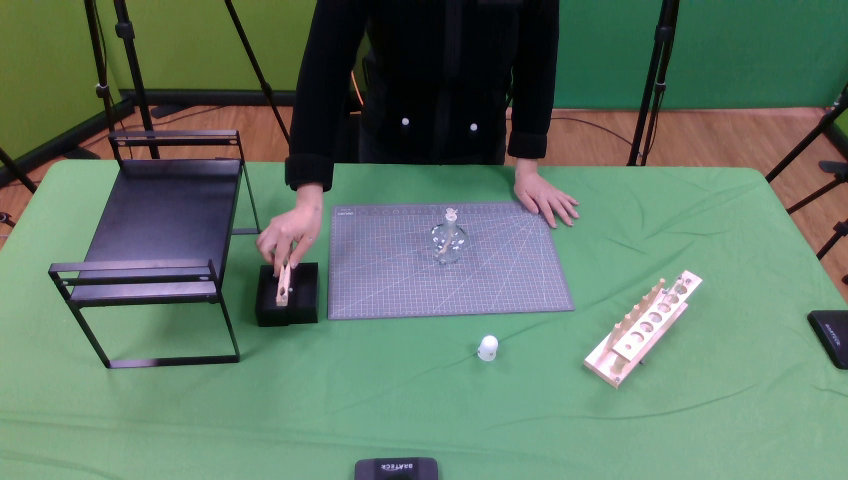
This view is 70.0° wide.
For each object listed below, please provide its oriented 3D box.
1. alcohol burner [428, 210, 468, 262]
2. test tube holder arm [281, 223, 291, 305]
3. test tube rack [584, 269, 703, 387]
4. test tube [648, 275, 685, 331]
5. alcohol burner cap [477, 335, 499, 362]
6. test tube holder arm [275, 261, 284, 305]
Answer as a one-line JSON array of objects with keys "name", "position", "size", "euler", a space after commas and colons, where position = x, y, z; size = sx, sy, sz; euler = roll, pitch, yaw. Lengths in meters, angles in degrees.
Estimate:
[{"name": "alcohol burner", "position": [0.048, -0.015, 1.146], "size": [0.078, 0.119, 0.077], "euler": [3, 48, -3]}, {"name": "test tube holder arm", "position": [-0.239, 0.038, 1.053], "size": [0.013, 0.015, 0.177], "euler": [-2, 48, -4]}, {"name": "test tube rack", "position": [0.380, 0.139, 1.046], "size": [0.066, 0.085, 0.242], "euler": [37, 54, 28]}, {"name": "test tube", "position": [0.401, 0.109, 1.007], "size": [0.017, 0.151, 0.017], "euler": [1, 50, -1]}, {"name": "alcohol burner cap", "position": [0.109, 0.179, 1.017], "size": [0.034, 0.048, 0.033], "euler": [4, 50, -4]}, {"name": "test tube holder arm", "position": [-0.241, 0.072, 1.022], "size": [0.010, 0.015, 0.087], "euler": [-1, 48, -3]}]
